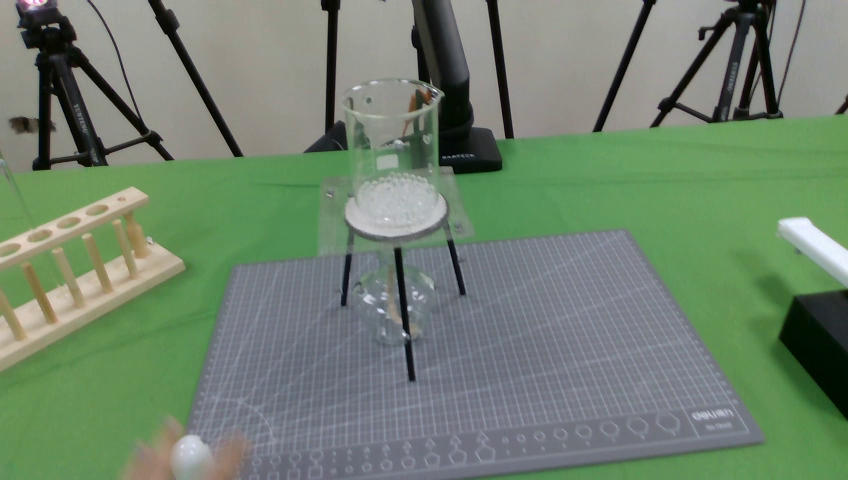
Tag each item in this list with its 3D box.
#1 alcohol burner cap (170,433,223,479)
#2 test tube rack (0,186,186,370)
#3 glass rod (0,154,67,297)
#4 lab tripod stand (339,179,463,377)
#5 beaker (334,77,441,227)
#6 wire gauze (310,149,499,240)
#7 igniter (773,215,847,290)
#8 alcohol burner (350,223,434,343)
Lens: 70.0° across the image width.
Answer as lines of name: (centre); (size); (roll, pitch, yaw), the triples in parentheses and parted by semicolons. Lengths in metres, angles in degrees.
alcohol burner cap: (-0.168, 0.161, 0.442); (0.034, 0.048, 0.033); (1, 37, 0)
test tube rack: (-0.369, 0.041, 0.593); (0.066, 0.086, 0.242); (25, 43, 33)
glass rod: (-0.384, -0.028, 0.578); (0.008, 0.201, 0.008); (-6, 28, 3)
lab tripod stand: (-0.020, 0.026, 0.544); (0.148, 0.132, 0.147); (0, 36, 1)
beaker: (-0.024, -0.069, 0.479); (0.084, 0.101, 0.073); (-18, 39, -21)
wire gauze: (-0.020, -0.039, 0.494); (0.125, 0.011, 0.120); (-14, 34, -23)
igniter: (0.381, 0.053, 0.492); (0.057, 0.025, 0.273); (-7, 32, -4)
alcohol burner: (-0.029, 0.035, 0.549); (0.078, 0.120, 0.077); (0, 35, 1)
